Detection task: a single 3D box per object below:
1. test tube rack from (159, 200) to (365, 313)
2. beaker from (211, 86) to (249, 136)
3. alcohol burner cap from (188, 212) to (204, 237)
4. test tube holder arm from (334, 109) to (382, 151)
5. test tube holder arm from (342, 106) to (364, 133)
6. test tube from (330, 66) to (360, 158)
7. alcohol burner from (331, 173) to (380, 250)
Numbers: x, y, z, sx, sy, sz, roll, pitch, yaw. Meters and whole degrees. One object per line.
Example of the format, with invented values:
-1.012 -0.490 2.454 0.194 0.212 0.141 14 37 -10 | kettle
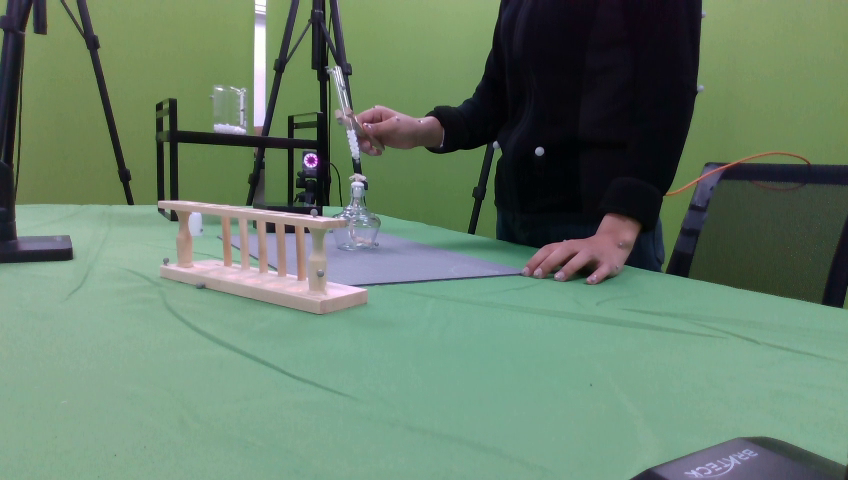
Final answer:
-0.173 0.009 0.624 0.241 0.085 0.067 7 9 34 | test tube rack
-0.413 -0.274 1.297 0.074 0.100 0.083 -5 11 -44 | beaker
-0.389 -0.029 1.026 0.034 0.048 0.034 3 9 0 | alcohol burner cap
-0.106 -0.179 0.997 0.013 0.015 0.179 -12 -12 14 | test tube holder arm
-0.111 -0.187 0.953 0.010 0.015 0.088 -12 -11 8 | test tube holder arm
-0.122 -0.198 0.932 0.017 0.150 0.017 -14 -9 -2 | test tube
-0.106 -0.044 0.930 0.078 0.119 0.078 3 6 0 | alcohol burner
